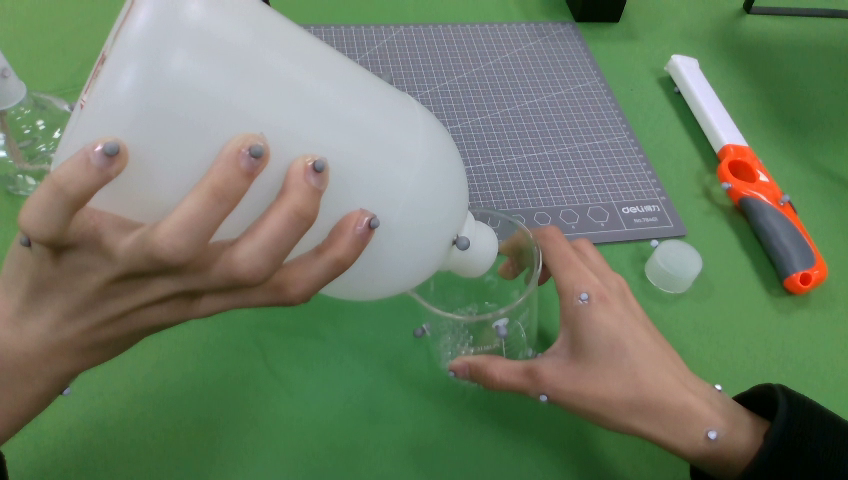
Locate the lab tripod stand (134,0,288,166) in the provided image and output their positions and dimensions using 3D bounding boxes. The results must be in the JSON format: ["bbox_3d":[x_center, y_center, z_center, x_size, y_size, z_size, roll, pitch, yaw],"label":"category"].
[{"bbox_3d":[-0.162,-0.151,0.466,0.148,0.132,0.147,4,53,-5],"label":"lab tripod stand"}]

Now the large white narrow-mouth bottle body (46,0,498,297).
[{"bbox_3d":[-0.044,-0.029,0.269,0.196,0.102,0.100,25,43,-34],"label":"large white narrow-mouth bottle body"}]

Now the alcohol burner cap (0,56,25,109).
[{"bbox_3d":[-0.287,-0.110,0.391,0.034,0.048,0.033,2,59,-4],"label":"alcohol burner cap"}]

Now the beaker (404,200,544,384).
[{"bbox_3d":[0.030,0.037,0.363,0.084,0.101,0.073,-15,53,-1],"label":"beaker"}]

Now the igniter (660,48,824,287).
[{"bbox_3d":[0.269,-0.076,0.528,0.057,0.025,0.273,4,52,-17],"label":"igniter"}]

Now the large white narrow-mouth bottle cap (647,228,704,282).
[{"bbox_3d":[0.190,0.011,0.457,0.038,0.024,0.037,3,52,-3],"label":"large white narrow-mouth bottle cap"}]

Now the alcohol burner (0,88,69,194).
[{"bbox_3d":[-0.290,-0.090,0.421,0.078,0.120,0.077,4,50,-5],"label":"alcohol burner"}]
